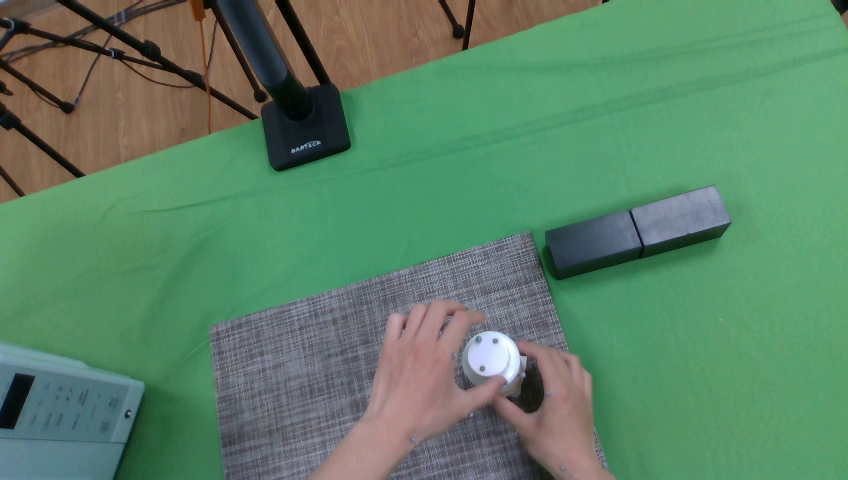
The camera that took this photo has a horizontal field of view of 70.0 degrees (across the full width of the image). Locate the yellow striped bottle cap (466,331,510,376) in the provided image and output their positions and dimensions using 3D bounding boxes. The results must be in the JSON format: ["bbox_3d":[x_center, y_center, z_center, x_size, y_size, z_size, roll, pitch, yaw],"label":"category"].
[{"bbox_3d":[0.066,0.117,0.626,0.044,0.019,0.044,-4,68,10],"label":"yellow striped bottle cap"}]

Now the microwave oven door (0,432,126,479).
[{"bbox_3d":[-0.460,0.375,0.622,0.039,0.246,0.354,10,74,15],"label":"microwave oven door"}]

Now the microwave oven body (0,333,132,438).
[{"bbox_3d":[-0.588,0.314,0.674,0.325,0.262,0.439,10,74,14],"label":"microwave oven body"}]

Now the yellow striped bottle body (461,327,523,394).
[{"bbox_3d":[0.076,0.135,0.675,0.062,0.121,0.062,-4,70,11],"label":"yellow striped bottle body"}]

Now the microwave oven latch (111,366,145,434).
[{"bbox_3d":[-0.386,0.205,0.775,0.030,0.030,0.079,12,75,15],"label":"microwave oven latch"}]
